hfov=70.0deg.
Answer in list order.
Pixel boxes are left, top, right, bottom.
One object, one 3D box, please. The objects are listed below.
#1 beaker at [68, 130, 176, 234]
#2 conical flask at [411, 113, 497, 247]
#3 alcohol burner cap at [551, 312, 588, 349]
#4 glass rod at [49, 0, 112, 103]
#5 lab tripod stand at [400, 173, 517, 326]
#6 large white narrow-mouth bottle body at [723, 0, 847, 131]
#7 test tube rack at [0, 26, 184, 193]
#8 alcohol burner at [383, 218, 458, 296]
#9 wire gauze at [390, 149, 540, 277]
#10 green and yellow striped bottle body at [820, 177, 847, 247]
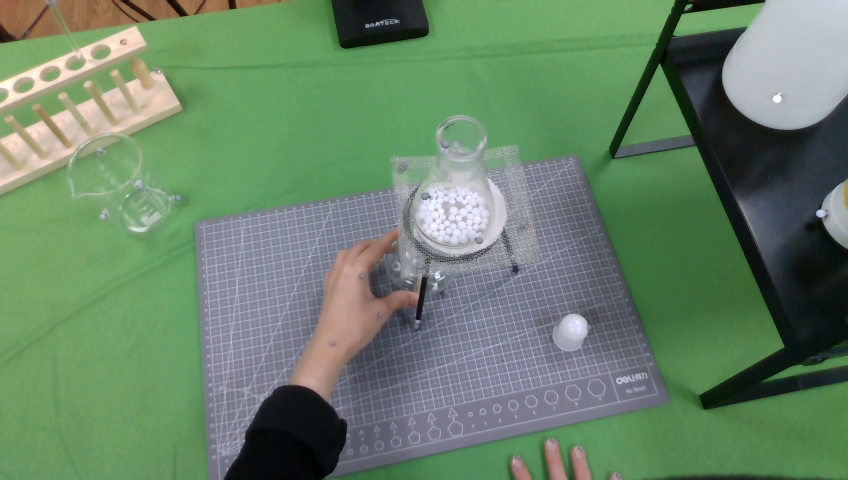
[{"bbox_3d":[-0.318,-0.055,0.647,0.073,0.101,0.084,33,69,15],"label":"beaker"},{"bbox_3d":[0.027,-0.050,0.486,0.075,0.123,0.074,0,65,0],"label":"conical flask"},{"bbox_3d":[0.148,0.089,0.611,0.034,0.048,0.033,0,66,0],"label":"alcohol burner cap"},{"bbox_3d":[-0.377,-0.216,0.656,0.008,0.201,0.008,2,62,-4],"label":"glass rod"},{"bbox_3d":[0.028,0.004,0.599,0.148,0.132,0.147,1,63,-1],"label":"lab tripod stand"},{"bbox_3d":[0.313,-0.177,0.457,0.102,0.196,0.101,0,63,0],"label":"large white narrow-mouth bottle body"},{"bbox_3d":[-0.417,-0.148,0.697,0.242,0.086,0.066,-29,68,-13],"label":"test tube rack"},{"bbox_3d":[-0.003,0.011,0.607,0.078,0.120,0.077,1,63,-2],"label":"alcohol burner"},{"bbox_3d":[0.034,-0.029,0.542,0.121,0.011,0.124,-5,63,-5],"label":"wire gauze"},{"bbox_3d":[0.349,-0.042,0.434,0.063,0.120,0.062,0,65,0],"label":"green and yellow striped bottle body"}]
